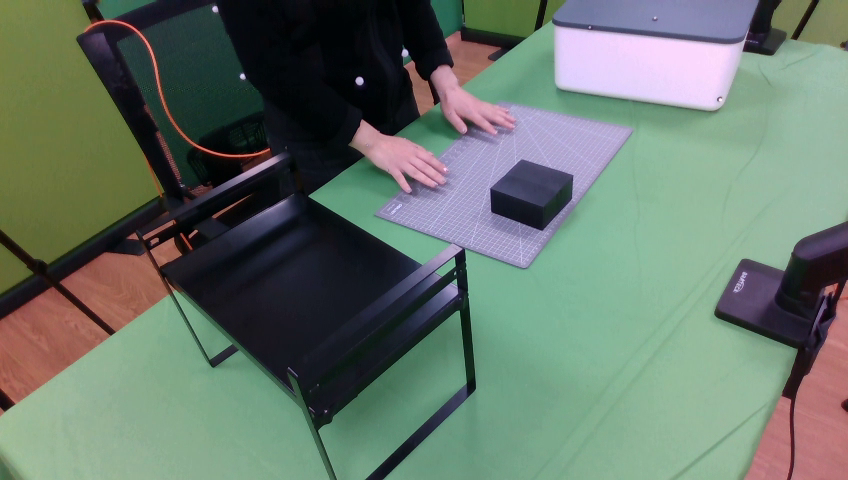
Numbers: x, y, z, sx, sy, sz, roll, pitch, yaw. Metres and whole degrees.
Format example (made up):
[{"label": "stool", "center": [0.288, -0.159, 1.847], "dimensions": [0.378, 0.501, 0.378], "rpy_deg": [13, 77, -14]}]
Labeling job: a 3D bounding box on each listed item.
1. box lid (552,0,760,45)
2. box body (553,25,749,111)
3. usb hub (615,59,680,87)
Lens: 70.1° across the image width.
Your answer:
[{"label": "box lid", "center": [0.471, -0.473, 1.235], "dimensions": [0.369, 0.015, 0.263], "rpy_deg": [16, 46, 25]}, {"label": "box body", "center": [0.480, -0.417, 1.282], "dimensions": [0.362, 0.161, 0.254], "rpy_deg": [16, 46, 25]}, {"label": "usb hub", "center": [0.484, -0.363, 1.311], "dimensions": [0.124, 0.025, 0.049], "rpy_deg": [21, 46, 27]}]
